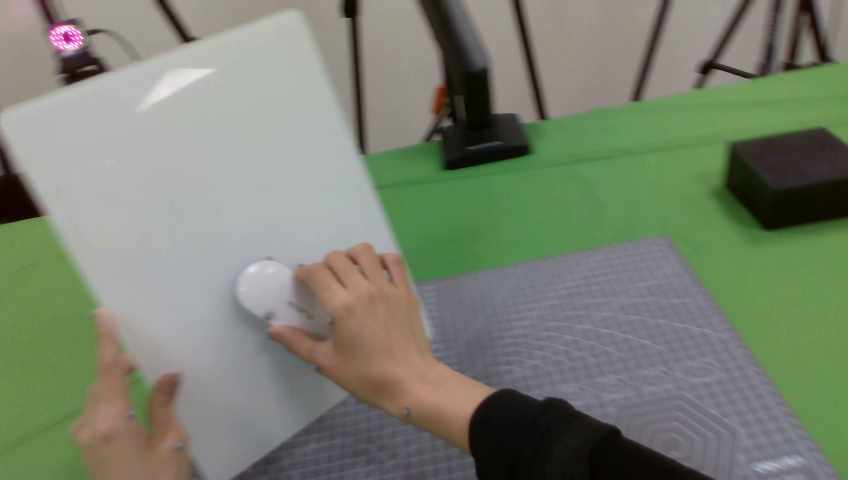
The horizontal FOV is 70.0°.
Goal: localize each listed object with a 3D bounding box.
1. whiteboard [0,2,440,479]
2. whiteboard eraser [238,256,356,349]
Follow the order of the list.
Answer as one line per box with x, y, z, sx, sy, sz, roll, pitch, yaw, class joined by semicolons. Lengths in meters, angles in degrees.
-0.159;-0.003;0.516;0.217;0.307;0.143;-32;20;-24;whiteboard
-0.096;0.049;0.467;0.018;0.102;0.041;-2;55;56;whiteboard eraser
